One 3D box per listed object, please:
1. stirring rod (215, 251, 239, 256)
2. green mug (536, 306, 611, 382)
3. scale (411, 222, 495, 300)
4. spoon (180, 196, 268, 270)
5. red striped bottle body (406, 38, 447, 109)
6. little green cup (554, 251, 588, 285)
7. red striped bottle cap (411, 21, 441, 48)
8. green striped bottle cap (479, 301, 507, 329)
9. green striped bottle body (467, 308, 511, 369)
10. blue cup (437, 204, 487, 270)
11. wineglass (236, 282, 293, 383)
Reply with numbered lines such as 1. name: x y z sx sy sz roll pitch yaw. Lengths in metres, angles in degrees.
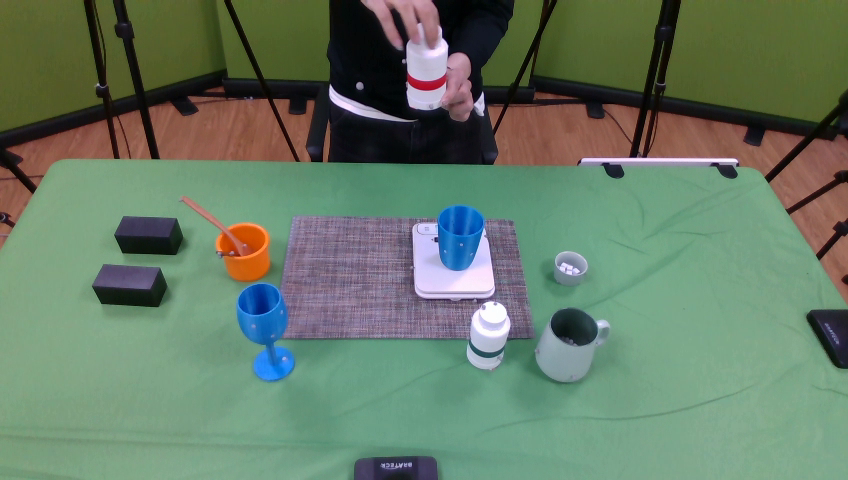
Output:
1. stirring rod: -0.339 0.024 1.059 0.014 0.176 0.006 16 86 -6
2. green mug: 0.250 0.167 0.996 0.125 0.105 0.092 -15 48 -18
3. scale: 0.052 0.031 1.158 0.149 0.032 0.199 1 46 -4
4. spoon: -0.360 -0.014 1.094 0.021 0.194 0.041 -27 26 31
5. red striped bottle body: 0.004 -0.267 0.930 0.063 0.120 0.062 0 50 0
6. little green cup: 0.277 0.055 1.151 0.061 0.039 0.061 1 46 -1
7. red striped bottle cap: 0.004 -0.302 0.889 0.044 0.018 0.044 2 52 -2
8. green striped bottle cap: 0.109 0.118 0.950 0.044 0.020 0.044 2 47 -2
9. green striped bottle body: 0.106 0.153 0.988 0.063 0.120 0.063 2 46 -2
10. blue cup: 0.063 0.001 1.098 0.093 0.101 0.092 2 44 -2
11. wineglass: -0.243 0.143 0.934 0.074 0.173 0.073 2 46 -2
